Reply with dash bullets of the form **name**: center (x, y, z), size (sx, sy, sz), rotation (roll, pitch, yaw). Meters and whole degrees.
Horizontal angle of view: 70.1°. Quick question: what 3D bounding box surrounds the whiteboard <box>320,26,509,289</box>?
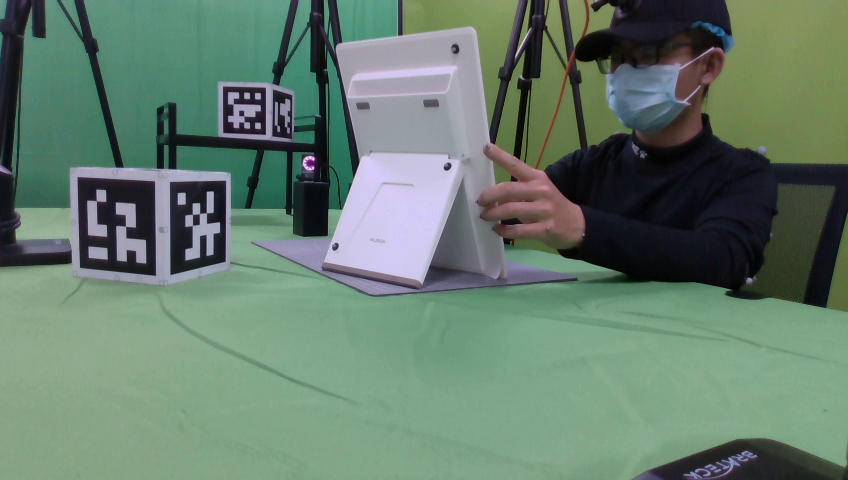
- **whiteboard**: center (-0.046, -0.076, 0.720), size (0.216, 0.305, 0.144), rotation (9, 29, 39)

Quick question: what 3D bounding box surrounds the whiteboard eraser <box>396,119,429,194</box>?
- **whiteboard eraser**: center (-0.014, -0.108, 0.790), size (0.041, 0.101, 0.019), rotation (23, 42, 33)
